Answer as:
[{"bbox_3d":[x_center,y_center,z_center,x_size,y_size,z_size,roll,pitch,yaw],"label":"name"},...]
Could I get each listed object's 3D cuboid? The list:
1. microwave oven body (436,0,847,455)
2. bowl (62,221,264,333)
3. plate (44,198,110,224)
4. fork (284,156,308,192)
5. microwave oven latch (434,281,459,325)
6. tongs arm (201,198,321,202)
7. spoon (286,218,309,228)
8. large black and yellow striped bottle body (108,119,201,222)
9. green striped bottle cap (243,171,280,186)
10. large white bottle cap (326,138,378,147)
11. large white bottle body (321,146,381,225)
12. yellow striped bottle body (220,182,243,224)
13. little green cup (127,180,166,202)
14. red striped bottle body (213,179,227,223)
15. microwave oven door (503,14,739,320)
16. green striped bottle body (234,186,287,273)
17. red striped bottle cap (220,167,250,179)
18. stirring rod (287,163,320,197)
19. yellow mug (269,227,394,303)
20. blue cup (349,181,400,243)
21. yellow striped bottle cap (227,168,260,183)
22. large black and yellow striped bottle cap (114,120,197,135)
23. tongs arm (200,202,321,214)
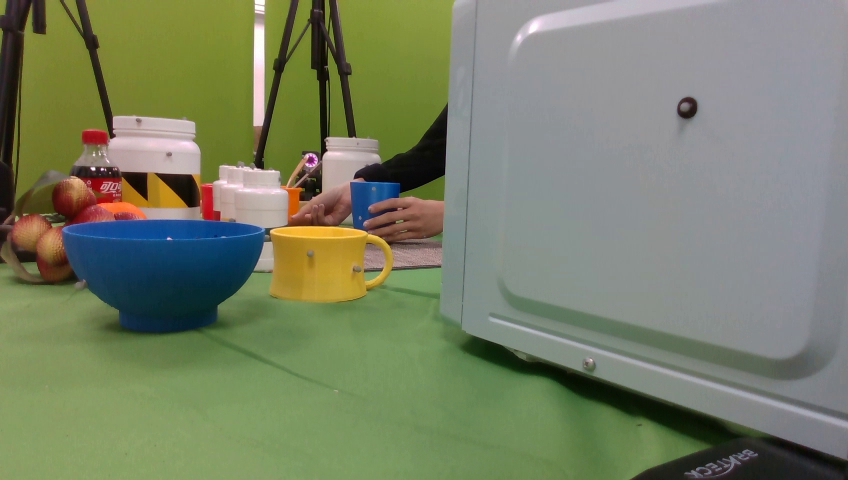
[{"bbox_3d":[0.279,-0.040,0.465,0.444,0.260,0.324,-3,9,-41],"label":"microwave oven body"},{"bbox_3d":[-0.209,0.029,0.496,0.151,0.077,0.151,2,6,0],"label":"bowl"},{"bbox_3d":[-0.617,-0.056,1.179,0.209,0.038,0.209,3,7,0],"label":"plate"},{"bbox_3d":[-0.295,-0.116,1.323,0.028,0.019,0.207,1,50,21],"label":"fork"},{"bbox_3d":[0.044,0.045,0.470,0.079,0.029,0.030,-2,8,-39],"label":"microwave oven latch"},{"bbox_3d":[-0.433,-0.089,1.508,0.390,0.028,0.028,-1,2,-29],"label":"tongs arm"},{"bbox_3d":[-0.232,-0.031,1.118,0.042,0.021,0.193,-26,8,-7],"label":"spoon"},{"bbox_3d":[-0.412,-0.088,0.930,0.131,0.184,0.130,3,7,0],"label":"large black and yellow striped bottle body"},{"bbox_3d":[-0.198,-0.074,0.736,0.044,0.020,0.044,1,7,0],"label":"green striped bottle cap"},{"bbox_3d":[-0.158,-0.214,1.329,0.115,0.018,0.115,2,8,0],"label":"large white bottle cap"},{"bbox_3d":[-0.162,-0.131,1.341,0.131,0.184,0.130,2,8,0],"label":"large white bottle body"},{"bbox_3d":[-0.246,-0.036,0.825,0.063,0.120,0.063,3,8,0],"label":"yellow striped bottle body"},{"bbox_3d":[-0.486,-0.086,1.061,0.061,0.038,0.061,1,7,0],"label":"little green cup"},{"bbox_3d":[-0.284,-0.048,0.909,0.063,0.119,0.063,3,12,0],"label":"red striped bottle body"},{"bbox_3d":[0.218,-0.065,0.600,0.358,0.243,0.039,-4,10,-41],"label":"microwave oven door"},{"bbox_3d":[-0.201,-0.023,0.743,0.063,0.119,0.063,2,7,0],"label":"green striped bottle body"},{"bbox_3d":[-0.281,-0.100,0.901,0.044,0.017,0.044,-1,5,0],"label":"red striped bottle cap"},{"bbox_3d":[-0.283,-0.107,1.298,0.014,0.006,0.176,11,53,50],"label":"stirring rod"},{"bbox_3d":[-0.094,0.023,0.629,0.131,0.064,0.099,0,7,-22],"label":"yellow mug"},{"bbox_3d":[-0.083,-0.047,1.012,0.093,0.100,0.092,1,6,0],"label":"blue cup"},{"bbox_3d":[-0.243,-0.087,0.818,0.044,0.018,0.044,3,6,0],"label":"yellow striped bottle cap"},{"bbox_3d":[-0.407,-0.171,0.920,0.115,0.019,0.115,2,9,0],"label":"large black and yellow striped bottle cap"},{"bbox_3d":[-0.378,-0.079,1.440,0.387,0.026,0.050,-4,7,-44],"label":"tongs arm"}]
